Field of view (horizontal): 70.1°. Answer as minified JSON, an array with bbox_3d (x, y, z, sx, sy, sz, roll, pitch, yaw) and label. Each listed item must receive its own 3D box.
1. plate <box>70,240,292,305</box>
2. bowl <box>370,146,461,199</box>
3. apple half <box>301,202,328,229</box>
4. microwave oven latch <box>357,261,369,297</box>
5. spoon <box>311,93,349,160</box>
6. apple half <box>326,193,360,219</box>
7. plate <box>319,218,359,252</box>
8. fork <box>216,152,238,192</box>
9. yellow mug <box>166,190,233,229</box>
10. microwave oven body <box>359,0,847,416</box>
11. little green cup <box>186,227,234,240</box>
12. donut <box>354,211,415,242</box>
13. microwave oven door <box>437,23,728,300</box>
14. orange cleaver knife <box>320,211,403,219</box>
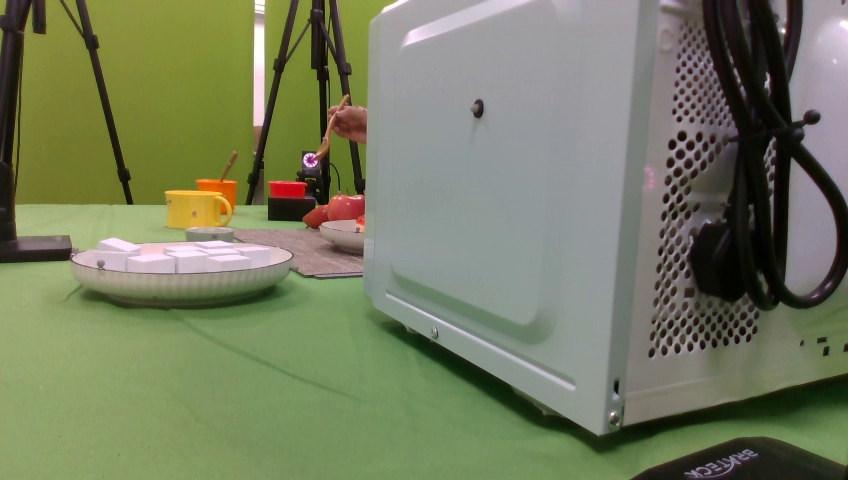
[{"bbox_3d":[-0.242,0.031,0.618,0.208,0.039,0.207,2,8,0],"label":"plate"},{"bbox_3d":[-0.015,-0.111,0.996,0.151,0.077,0.151,2,13,0],"label":"bowl"},{"bbox_3d":[-0.194,-0.043,1.172,0.081,0.032,0.081,-20,-17,-6],"label":"apple half"},{"bbox_3d":[-0.019,0.033,0.530,0.079,0.029,0.030,-1,7,-27],"label":"microwave oven latch"},{"bbox_3d":[-0.196,-0.243,1.276,0.022,0.193,0.041,31,-31,-27],"label":"spoon"},{"bbox_3d":[-0.135,-0.047,1.089,0.081,0.074,0.053,5,10,-12],"label":"apple half"},{"bbox_3d":[-0.058,-0.007,0.939,0.209,0.038,0.209,2,8,0],"label":"plate"},{"bbox_3d":[-0.455,-0.132,1.367,0.028,0.018,0.207,-3,-35,-38],"label":"fork"},{"bbox_3d":[-0.415,-0.057,1.132,0.130,0.064,0.100,6,8,16],"label":"yellow mug"},{"bbox_3d":[0.211,-0.047,0.474,0.444,0.260,0.324,-1,7,-28],"label":"microwave oven body"},{"bbox_3d":[-0.285,0.005,0.805,0.061,0.038,0.061,2,8,0],"label":"little green cup"},{"bbox_3d":[-0.062,-0.020,0.955,0.099,0.048,0.099,5,7,0],"label":"donut"},{"bbox_3d":[0.181,-0.072,0.621,0.358,0.243,0.039,-2,8,-29],"label":"microwave oven door"},{"bbox_3d":[-0.142,-0.057,1.394,0.077,0.012,0.212,3,7,44],"label":"orange cleaver knife"}]
